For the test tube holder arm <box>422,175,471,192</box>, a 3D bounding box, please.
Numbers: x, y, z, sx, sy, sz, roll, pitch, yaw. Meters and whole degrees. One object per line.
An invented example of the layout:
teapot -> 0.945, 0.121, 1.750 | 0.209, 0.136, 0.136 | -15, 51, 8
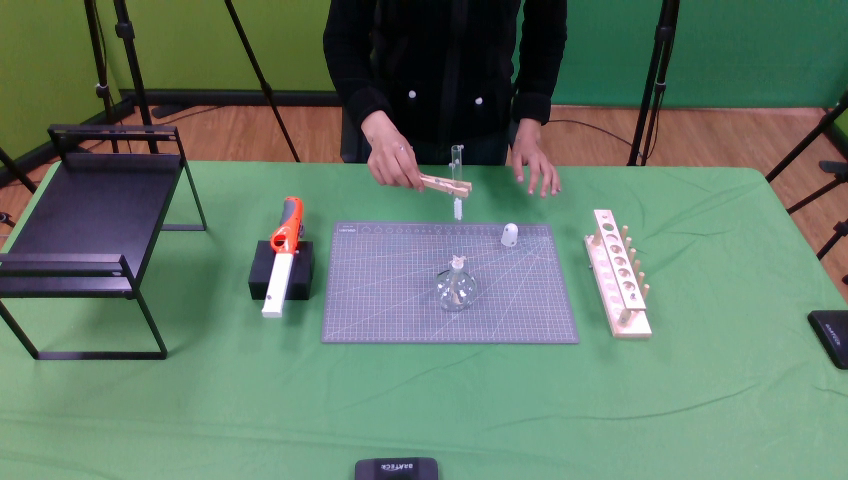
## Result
test tube holder arm -> 0.036, -0.094, 1.008 | 0.087, 0.015, 0.010 | 11, 44, 20

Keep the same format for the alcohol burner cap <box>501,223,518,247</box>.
alcohol burner cap -> 0.172, -0.013, 1.207 | 0.034, 0.048, 0.033 | 1, 45, -1

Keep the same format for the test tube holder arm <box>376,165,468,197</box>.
test tube holder arm -> -0.006, -0.101, 1.022 | 0.178, 0.015, 0.013 | 17, 45, 25

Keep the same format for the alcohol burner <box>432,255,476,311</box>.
alcohol burner -> 0.055, 0.070, 1.068 | 0.078, 0.119, 0.077 | 3, 45, -3

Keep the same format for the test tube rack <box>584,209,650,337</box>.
test tube rack -> 0.365, 0.056, 1.129 | 0.067, 0.085, 0.240 | 1, 46, -4

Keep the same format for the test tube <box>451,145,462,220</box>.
test tube -> 0.054, -0.091, 0.992 | 0.017, 0.151, 0.017 | -2, 44, 2

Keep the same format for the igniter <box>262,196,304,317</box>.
igniter -> -0.252, 0.020, 1.090 | 0.057, 0.025, 0.275 | 0, 49, -1
